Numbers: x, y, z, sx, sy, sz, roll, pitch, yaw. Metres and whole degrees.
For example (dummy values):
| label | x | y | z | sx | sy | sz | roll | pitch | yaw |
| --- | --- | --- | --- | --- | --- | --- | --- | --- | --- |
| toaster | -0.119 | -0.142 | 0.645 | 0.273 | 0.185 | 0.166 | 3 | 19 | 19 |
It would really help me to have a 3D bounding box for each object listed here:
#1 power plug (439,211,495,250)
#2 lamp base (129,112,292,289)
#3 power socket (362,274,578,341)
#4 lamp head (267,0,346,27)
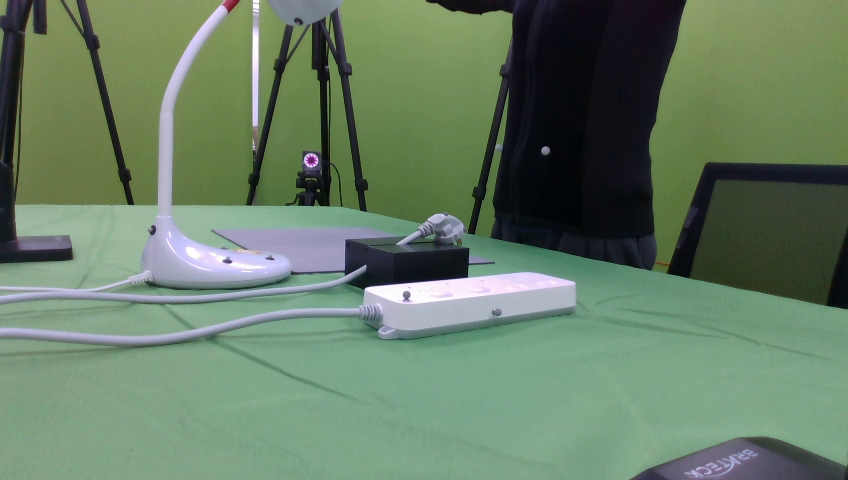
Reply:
| label | x | y | z | sx | sy | sz | roll | pitch | yaw |
| --- | --- | --- | --- | --- | --- | --- | --- | --- | --- |
| power plug | 0.048 | -0.006 | 0.683 | 0.072 | 0.053 | 0.035 | 15 | 57 | 39 |
| lamp base | -0.233 | -0.045 | 0.658 | 0.160 | 0.180 | 0.180 | 7 | 11 | 29 |
| power socket | 0.048 | 0.056 | 0.549 | 0.228 | 0.032 | 0.072 | -3 | 8 | -35 |
| lamp head | -0.157 | -0.326 | 0.701 | 0.112 | 0.112 | 0.123 | 6 | -16 | 26 |
